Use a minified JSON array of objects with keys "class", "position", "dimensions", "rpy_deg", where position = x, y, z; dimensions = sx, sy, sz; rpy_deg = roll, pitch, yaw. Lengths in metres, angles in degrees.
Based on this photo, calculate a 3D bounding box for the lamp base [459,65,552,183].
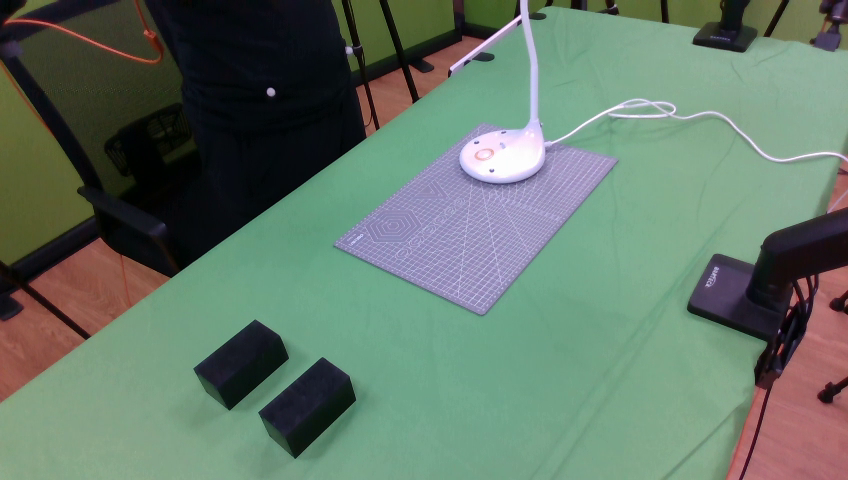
[{"class":"lamp base","position":[0.149,-0.218,1.078],"dimensions":[0.180,0.181,0.159],"rpy_deg":[-19,41,-17]}]
